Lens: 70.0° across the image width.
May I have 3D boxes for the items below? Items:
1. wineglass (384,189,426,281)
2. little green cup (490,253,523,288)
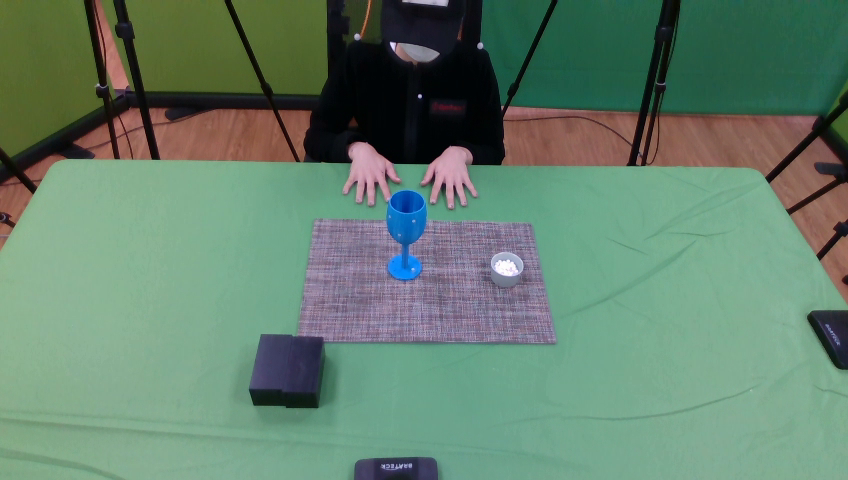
[{"bbox_3d":[-0.035,-0.006,1.091,0.074,0.173,0.073,2,46,-2],"label":"wineglass"},{"bbox_3d":[0.153,0.059,1.137,0.061,0.039,0.061,2,47,-2],"label":"little green cup"}]
